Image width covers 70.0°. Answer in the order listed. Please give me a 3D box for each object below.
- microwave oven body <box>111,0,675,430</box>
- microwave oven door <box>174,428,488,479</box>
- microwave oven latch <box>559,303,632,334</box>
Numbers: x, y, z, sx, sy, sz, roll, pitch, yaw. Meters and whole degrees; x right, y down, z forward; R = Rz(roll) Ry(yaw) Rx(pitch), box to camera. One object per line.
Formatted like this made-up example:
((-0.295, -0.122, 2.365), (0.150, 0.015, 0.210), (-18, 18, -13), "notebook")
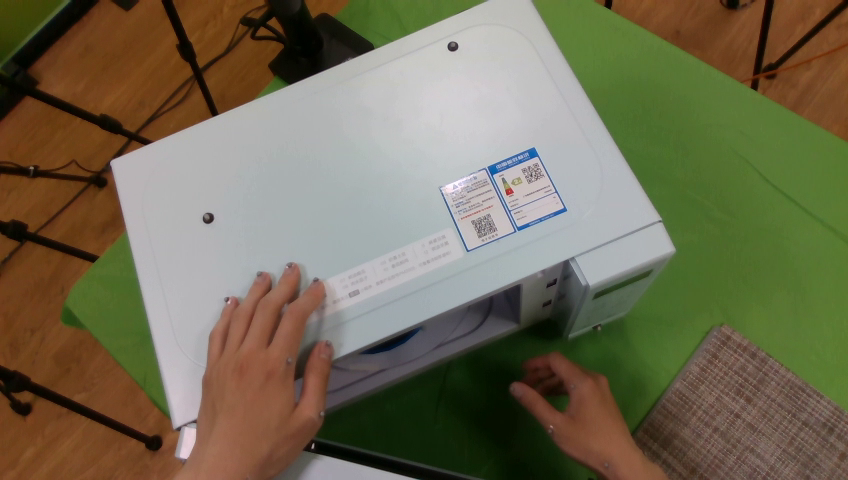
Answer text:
((-0.035, -0.008, 0.654), (0.442, 0.262, 0.323), (-24, 70, 0), "microwave oven body")
((-0.014, 0.228, 0.564), (0.355, 0.245, 0.039), (9, 71, 11), "microwave oven door")
((0.196, 0.081, 0.695), (0.079, 0.030, 0.030), (-22, 70, 1), "microwave oven latch")
